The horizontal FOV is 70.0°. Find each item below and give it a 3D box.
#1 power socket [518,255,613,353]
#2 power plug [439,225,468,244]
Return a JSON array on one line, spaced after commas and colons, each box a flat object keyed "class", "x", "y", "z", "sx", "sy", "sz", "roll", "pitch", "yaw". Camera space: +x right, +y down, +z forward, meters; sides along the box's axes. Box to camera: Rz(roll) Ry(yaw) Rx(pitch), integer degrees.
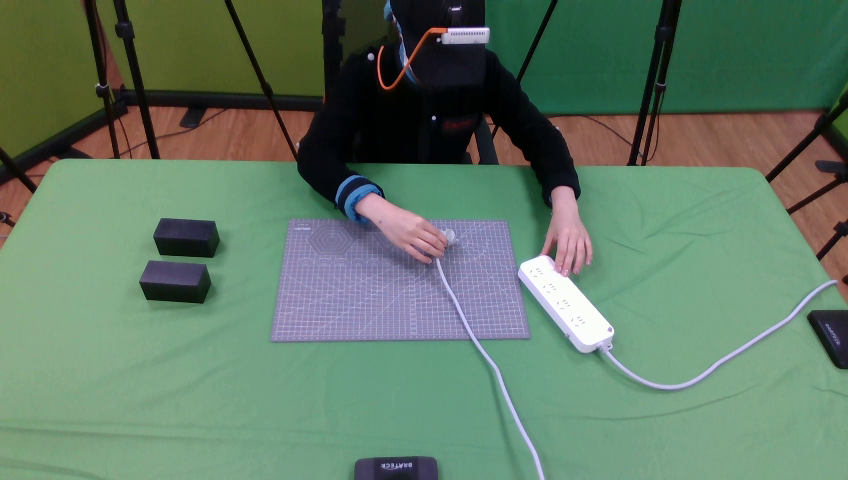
[{"class": "power socket", "x": 0.253, "y": 0.111, "z": 1.099, "sx": 0.072, "sy": 0.033, "sz": 0.225, "roll": -19, "pitch": 50, "yaw": -20}, {"class": "power plug", "x": 0.063, "y": -0.014, "z": 1.179, "sx": 0.072, "sy": 0.035, "sz": 0.052, "roll": -16, "pitch": 37, "yaw": -19}]
